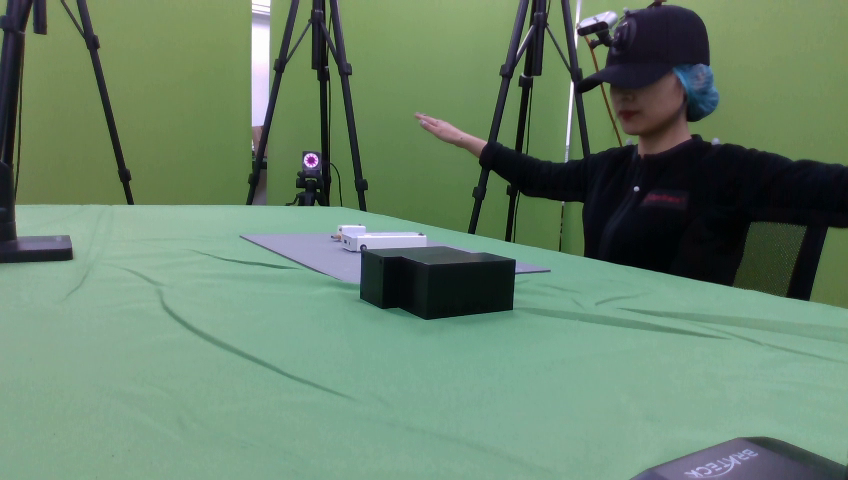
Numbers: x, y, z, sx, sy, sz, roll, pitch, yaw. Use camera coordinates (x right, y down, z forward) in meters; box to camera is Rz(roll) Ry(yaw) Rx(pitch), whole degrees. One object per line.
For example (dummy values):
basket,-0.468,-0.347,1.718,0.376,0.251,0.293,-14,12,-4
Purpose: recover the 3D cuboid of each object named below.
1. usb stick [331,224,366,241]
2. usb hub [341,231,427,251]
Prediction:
usb stick,-0.128,-0.013,1.018,0.059,0.027,0.021,-5,11,-31
usb hub,-0.061,0.001,0.935,0.126,0.025,0.049,-2,9,-26
